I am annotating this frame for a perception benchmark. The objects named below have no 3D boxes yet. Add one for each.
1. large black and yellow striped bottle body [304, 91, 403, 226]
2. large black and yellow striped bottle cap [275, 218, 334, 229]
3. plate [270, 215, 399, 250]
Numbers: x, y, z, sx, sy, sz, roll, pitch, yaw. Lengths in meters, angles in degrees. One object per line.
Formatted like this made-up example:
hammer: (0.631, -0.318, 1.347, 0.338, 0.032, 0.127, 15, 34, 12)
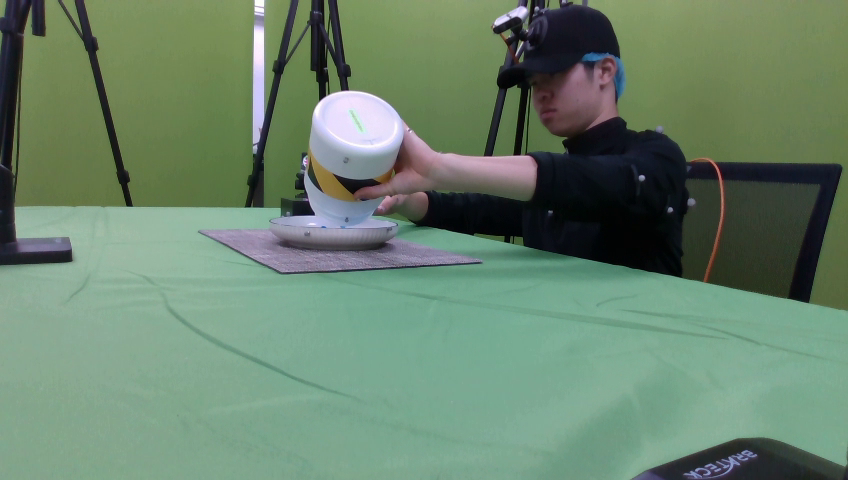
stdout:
large black and yellow striped bottle body: (-0.113, -0.118, 0.921, 0.131, 0.130, 0.184, 0, -35, -17)
large black and yellow striped bottle cap: (-0.236, -0.033, 1.197, 0.115, 0.019, 0.115, 2, 3, 0)
plate: (-0.145, -0.013, 0.992, 0.208, 0.039, 0.207, 2, 7, 0)
